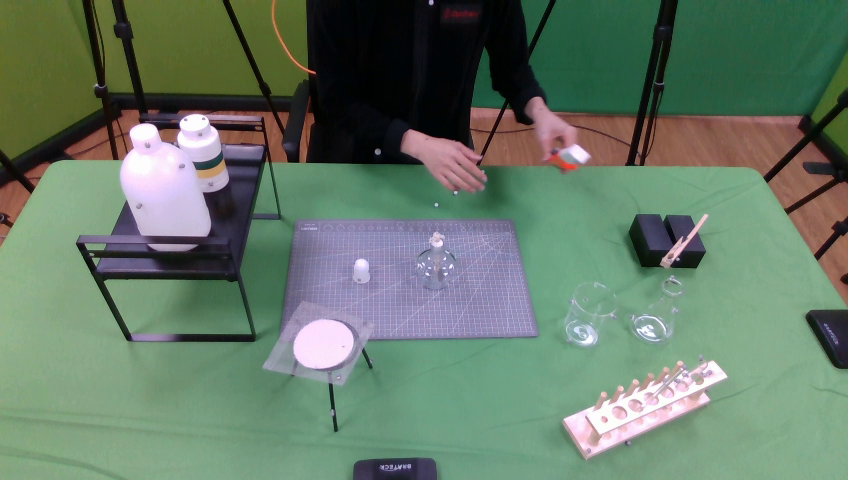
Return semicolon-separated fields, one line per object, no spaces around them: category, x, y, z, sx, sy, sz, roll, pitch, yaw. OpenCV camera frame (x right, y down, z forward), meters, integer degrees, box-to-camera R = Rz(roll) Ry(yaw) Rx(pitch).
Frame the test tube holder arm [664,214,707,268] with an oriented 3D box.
test tube holder arm;0.507;-0.001;1.171;0.013;0.015;0.178;34;54;26

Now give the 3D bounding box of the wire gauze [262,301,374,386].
wire gauze;-0.150;0.148;0.873;0.121;0.011;0.124;14;46;12

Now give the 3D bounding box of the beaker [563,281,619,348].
beaker;0.283;0.129;1.041;0.074;0.101;0.083;11;46;6

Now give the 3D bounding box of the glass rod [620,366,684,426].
glass rod;0.322;0.227;0.866;0.008;0.200;0.008;6;51;-7

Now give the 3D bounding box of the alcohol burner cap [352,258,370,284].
alcohol burner cap;-0.117;0.055;1.118;0.034;0.048;0.033;1;46;-1

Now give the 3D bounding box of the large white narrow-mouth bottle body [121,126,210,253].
large white narrow-mouth bottle body;-0.378;-0.077;0.875;0.102;0.195;0.101;3;46;-3

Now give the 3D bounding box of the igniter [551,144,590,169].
igniter;0.263;-0.151;1.105;0.057;0.276;0.025;41;97;1

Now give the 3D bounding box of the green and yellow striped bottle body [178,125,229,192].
green and yellow striped bottle body;-0.361;-0.142;0.989;0.063;0.120;0.063;2;46;-2

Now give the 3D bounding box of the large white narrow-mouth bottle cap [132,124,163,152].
large white narrow-mouth bottle cap;-0.371;-0.137;0.813;0.038;0.024;0.037;3;46;-3

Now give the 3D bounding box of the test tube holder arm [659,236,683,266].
test tube holder arm;0.472;0.020;1.149;0.010;0.015;0.088;35;54;27

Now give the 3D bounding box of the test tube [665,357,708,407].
test tube;0.387;0.216;0.905;0.017;0.151;0.017;1;53;-1

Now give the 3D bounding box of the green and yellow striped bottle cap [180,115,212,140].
green and yellow striped bottle cap;-0.358;-0.177;0.951;0.045;0.020;0.045;1;45;-1

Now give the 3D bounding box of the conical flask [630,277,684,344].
conical flask;0.408;0.117;1.045;0.075;0.122;0.075;2;46;-2

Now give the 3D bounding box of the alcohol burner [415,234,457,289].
alcohol burner;0.022;0.033;1.099;0.078;0.120;0.077;1;47;-1

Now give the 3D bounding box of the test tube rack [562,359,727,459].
test tube rack;0.341;0.247;0.940;0.243;0.085;0.066;-16;49;-18

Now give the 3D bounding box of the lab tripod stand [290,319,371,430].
lab tripod stand;-0.146;0.193;0.923;0.148;0.132;0.147;1;47;-1
